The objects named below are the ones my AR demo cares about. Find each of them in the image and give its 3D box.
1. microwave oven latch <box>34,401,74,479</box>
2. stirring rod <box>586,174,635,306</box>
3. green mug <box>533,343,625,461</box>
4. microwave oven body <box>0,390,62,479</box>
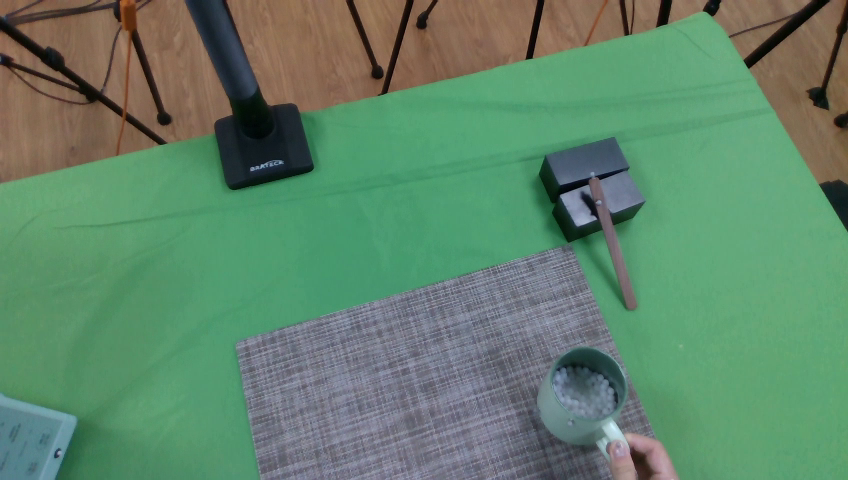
[{"bbox_3d":[-0.417,0.222,0.668,0.030,0.030,0.078,12,68,4],"label":"microwave oven latch"},{"bbox_3d":[0.237,0.000,0.771,0.014,0.006,0.176,-18,93,3],"label":"stirring rod"},{"bbox_3d":[0.179,0.182,0.666,0.092,0.106,0.124,-25,63,-9],"label":"green mug"},{"bbox_3d":[-0.596,0.316,0.520,0.326,0.262,0.439,11,68,3],"label":"microwave oven body"}]
